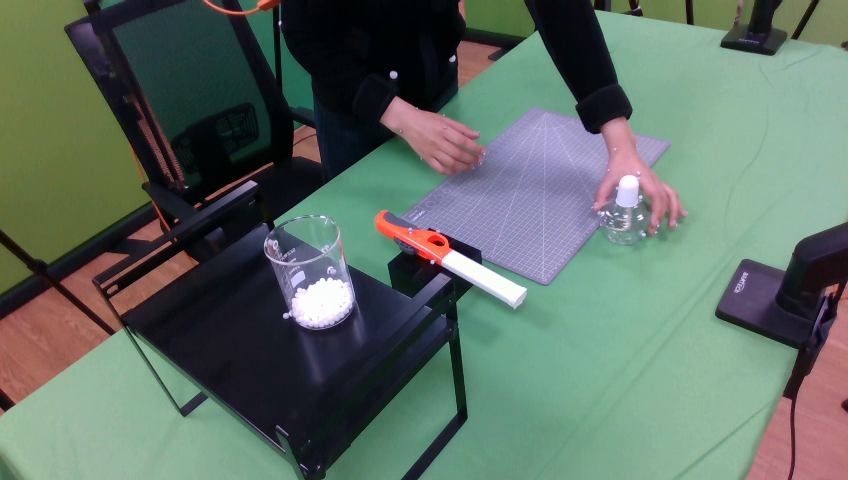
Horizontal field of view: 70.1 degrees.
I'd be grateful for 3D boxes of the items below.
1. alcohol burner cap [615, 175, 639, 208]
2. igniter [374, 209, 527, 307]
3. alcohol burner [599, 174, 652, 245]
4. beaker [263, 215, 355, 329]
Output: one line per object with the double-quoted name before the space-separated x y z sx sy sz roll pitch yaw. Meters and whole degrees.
"alcohol burner cap" 0.304 -0.076 0.901 0.034 0.048 0.033 -4 43 4
"igniter" 0.027 0.019 0.873 0.274 0.025 0.057 29 52 31
"alcohol burner" 0.308 -0.051 0.919 0.078 0.119 0.077 -5 43 5
"beaker" -0.111 0.034 0.616 0.073 0.101 0.084 13 44 23
